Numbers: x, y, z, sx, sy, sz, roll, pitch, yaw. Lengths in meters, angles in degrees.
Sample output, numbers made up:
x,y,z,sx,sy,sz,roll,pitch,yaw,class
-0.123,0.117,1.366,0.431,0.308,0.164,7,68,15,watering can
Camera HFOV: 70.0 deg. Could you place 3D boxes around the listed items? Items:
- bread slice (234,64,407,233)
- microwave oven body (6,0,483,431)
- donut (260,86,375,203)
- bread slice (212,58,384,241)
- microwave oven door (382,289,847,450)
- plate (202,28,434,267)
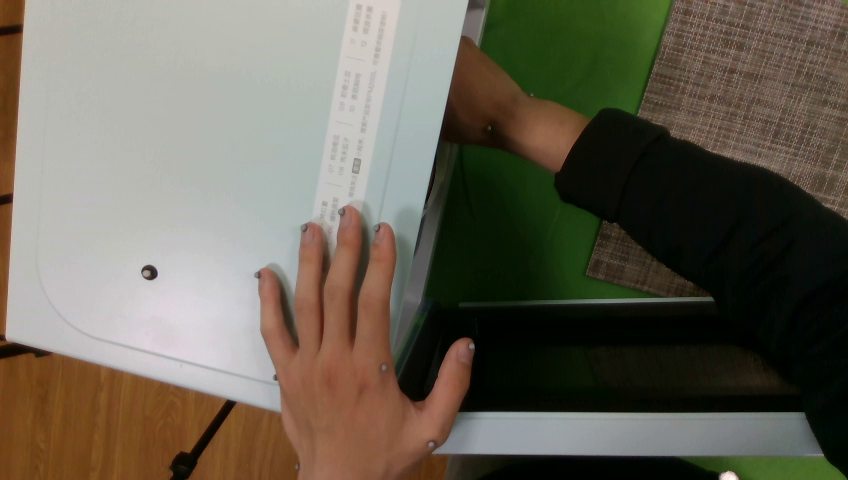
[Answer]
x,y,z,sx,sy,sz,roll,pitch,yaw,class
-0.100,-0.086,0.543,0.107,0.018,0.135,-43,106,5,bread slice
-0.103,-0.134,0.481,0.326,0.259,0.443,13,104,4,microwave oven body
-0.090,-0.080,0.514,0.099,0.048,0.099,2,109,7,donut
-0.110,-0.075,0.488,0.105,0.019,0.132,-30,100,13,bread slice
0.163,0.095,0.494,0.355,0.243,0.039,-3,101,8,microwave oven door
-0.092,-0.079,0.544,0.207,0.039,0.208,1,103,7,plate
